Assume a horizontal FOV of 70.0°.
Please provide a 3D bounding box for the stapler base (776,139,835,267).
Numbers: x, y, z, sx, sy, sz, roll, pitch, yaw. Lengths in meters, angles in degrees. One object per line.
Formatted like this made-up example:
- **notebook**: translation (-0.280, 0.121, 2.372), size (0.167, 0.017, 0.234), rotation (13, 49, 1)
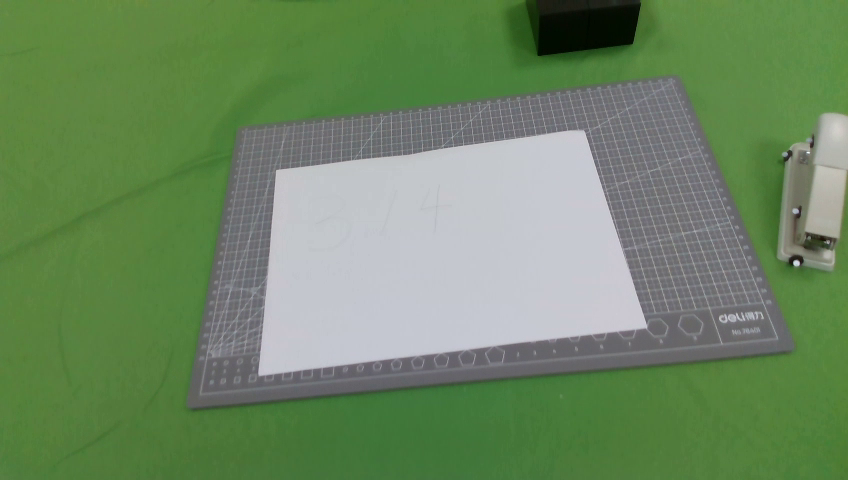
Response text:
- **stapler base**: translation (0.319, -0.039, 0.496), size (0.041, 0.025, 0.130), rotation (13, 60, 20)

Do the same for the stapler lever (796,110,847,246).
- **stapler lever**: translation (0.315, -0.052, 0.474), size (0.026, 0.040, 0.117), rotation (13, 60, 20)
